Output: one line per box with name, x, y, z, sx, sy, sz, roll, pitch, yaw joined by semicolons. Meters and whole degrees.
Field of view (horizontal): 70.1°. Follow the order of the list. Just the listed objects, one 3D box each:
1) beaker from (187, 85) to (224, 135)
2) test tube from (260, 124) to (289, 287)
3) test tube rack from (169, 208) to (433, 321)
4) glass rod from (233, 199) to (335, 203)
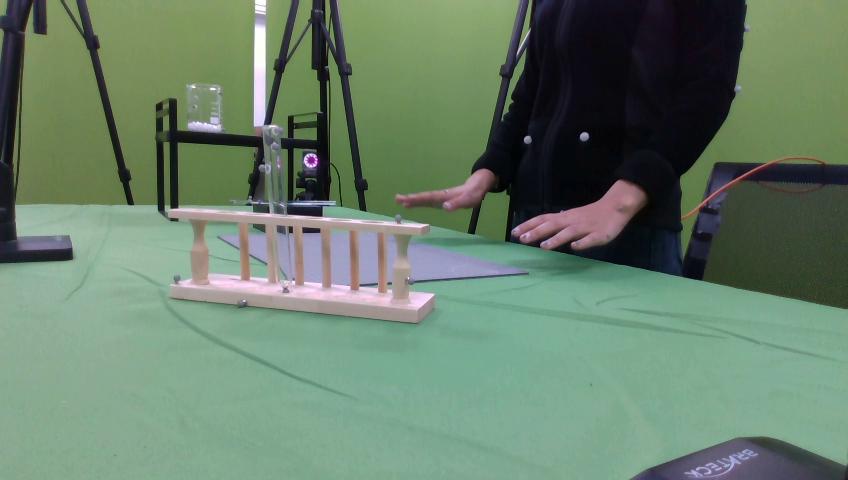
beaker;-0.466;-0.275;1.286;0.074;0.100;0.084;5;8;22
test tube;-0.137;-0.031;0.557;0.017;0.150;0.017;-3;6;1
test tube rack;-0.115;0.018;0.574;0.242;0.085;0.067;4;8;13
glass rod;-0.264;-0.076;1.160;0.201;0.008;0.008;-2;9;-31
